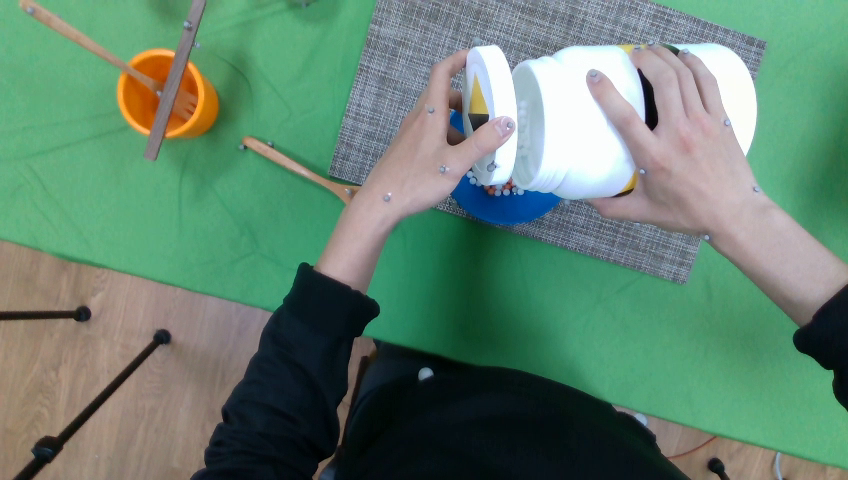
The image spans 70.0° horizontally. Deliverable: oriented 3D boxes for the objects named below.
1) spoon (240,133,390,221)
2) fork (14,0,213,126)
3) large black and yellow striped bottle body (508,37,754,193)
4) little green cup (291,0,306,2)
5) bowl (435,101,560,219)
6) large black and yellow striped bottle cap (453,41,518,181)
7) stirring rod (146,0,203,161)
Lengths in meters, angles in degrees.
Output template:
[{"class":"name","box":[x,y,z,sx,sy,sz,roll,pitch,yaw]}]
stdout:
[{"class":"spoon","box":[-0.128,-0.078,0.705,0.194,0.021,0.042,27,108,-4]},{"class":"fork","box":[-0.311,-0.180,0.627,0.028,0.018,0.209,-52,137,5]},{"class":"large black and yellow striped bottle body","box":[0.170,-0.109,0.535,0.184,0.130,0.131,-5,95,-12]},{"class":"little green cup","box":[-0.144,-0.298,0.675,0.061,0.038,0.061,0,95,0]},{"class":"bowl","box":[0.086,-0.100,0.677,0.151,0.076,0.151,0,96,-1]},{"class":"large black and yellow striped bottle cap","box":[0.049,-0.108,0.512,0.019,0.114,0.115,-6,95,-15]},{"class":"stirring rod","box":[-0.258,-0.167,0.627,0.014,0.006,0.176,18,95,-1]}]
